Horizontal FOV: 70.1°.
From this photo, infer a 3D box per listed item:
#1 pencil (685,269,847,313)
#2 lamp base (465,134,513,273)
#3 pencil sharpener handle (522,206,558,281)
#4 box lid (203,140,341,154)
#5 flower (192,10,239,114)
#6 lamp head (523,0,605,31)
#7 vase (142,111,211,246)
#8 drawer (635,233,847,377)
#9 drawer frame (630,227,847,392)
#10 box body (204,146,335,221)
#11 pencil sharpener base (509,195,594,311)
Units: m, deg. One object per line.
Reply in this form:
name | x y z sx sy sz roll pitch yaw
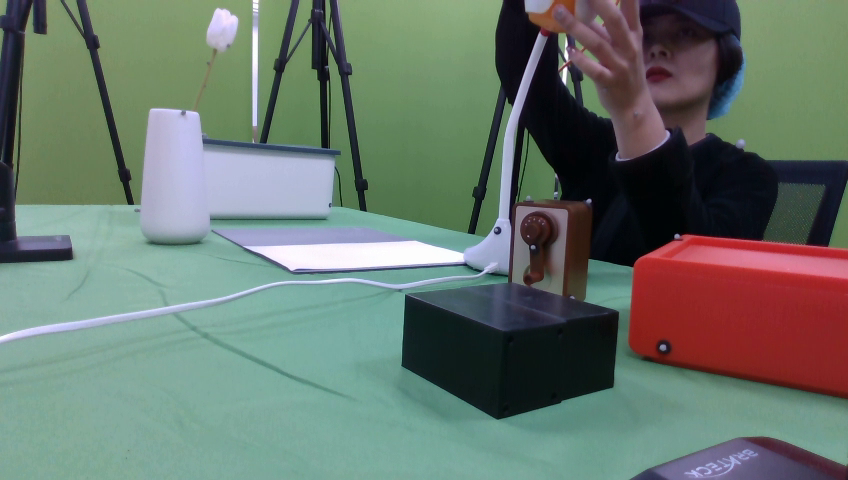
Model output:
pencil | 0.308 0.045 0.516 0.194 0.012 0.012 13 5 -11
lamp base | 0.133 -0.052 0.809 0.160 0.180 0.180 6 12 26
pencil sharpener handle | 0.102 0.003 0.555 0.036 0.067 0.031 0 5 31
box lid | -0.396 -0.212 1.373 0.373 0.015 0.262 -1 9 -29
flower | -0.354 -0.174 0.915 0.038 0.361 0.044 18 -3 12
lamp head | 0.150 -0.283 0.631 0.112 0.123 0.112 13 18 -4
vase | -0.378 -0.093 0.920 0.098 0.200 0.098 2 9 0
drawer | 0.292 0.044 0.488 0.193 0.073 0.213 7 9 30
drawer frame | 0.292 0.043 0.485 0.201 0.082 0.214 7 9 29
box body | -0.411 -0.135 1.386 0.366 0.160 0.253 -2 9 -29
pencil sharpener base | 0.126 0.011 0.601 0.061 0.107 0.077 7 9 30
